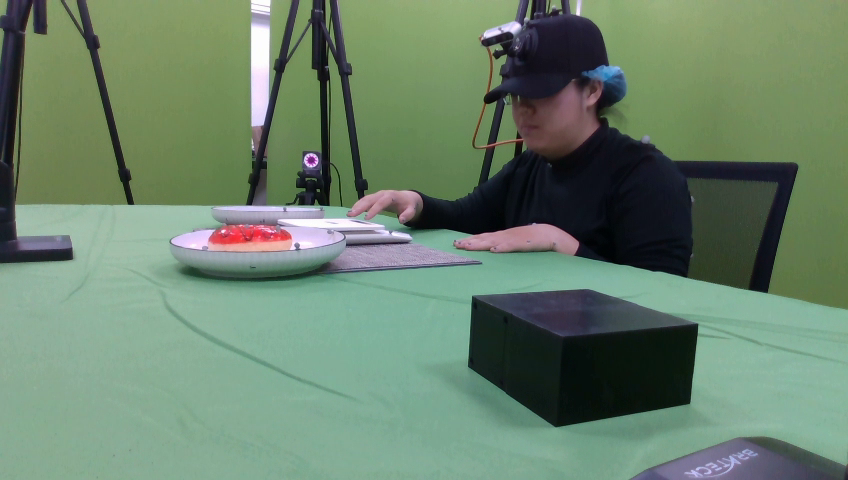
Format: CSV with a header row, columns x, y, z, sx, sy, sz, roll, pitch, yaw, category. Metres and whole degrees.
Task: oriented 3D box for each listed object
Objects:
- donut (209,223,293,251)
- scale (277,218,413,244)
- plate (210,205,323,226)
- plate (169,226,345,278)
x,y,z,sx,sy,sz,roll,pitch,yaw,category
-0.210,0.004,0.738,0.099,0.048,0.099,0,8,0,donut
-0.134,-0.015,1.015,0.202,0.031,0.148,-1,9,-33,scale
-0.298,-0.043,1.152,0.208,0.039,0.207,2,5,0,plate
-0.202,0.014,0.748,0.209,0.038,0.209,1,9,0,plate
